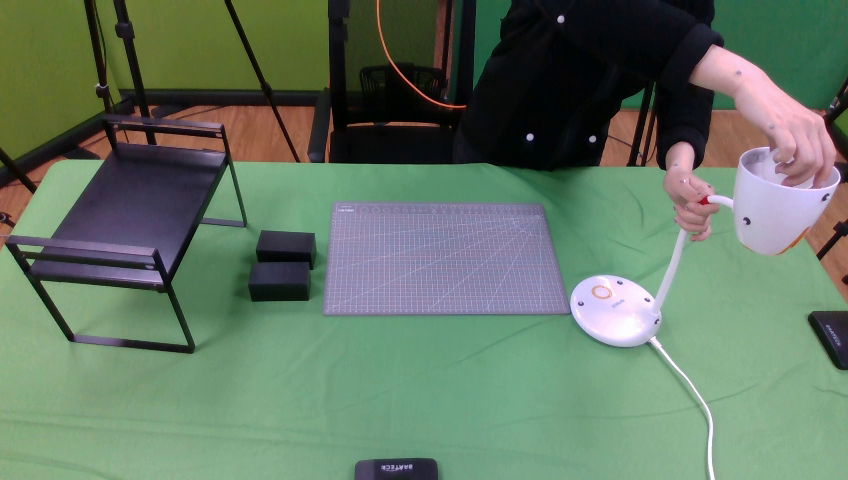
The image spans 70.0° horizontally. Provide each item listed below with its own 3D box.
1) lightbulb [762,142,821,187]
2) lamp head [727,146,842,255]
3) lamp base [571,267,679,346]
[{"bbox_3d":[0.438,-0.067,0.735,0.059,0.108,0.059,-3,38,3],"label":"lightbulb"},{"bbox_3d":[0.437,-0.045,0.760,0.112,0.123,0.111,1,39,0],"label":"lamp head"},{"bbox_3d":[0.360,0.077,1.037,0.160,0.181,0.178,-34,59,-31],"label":"lamp base"}]
